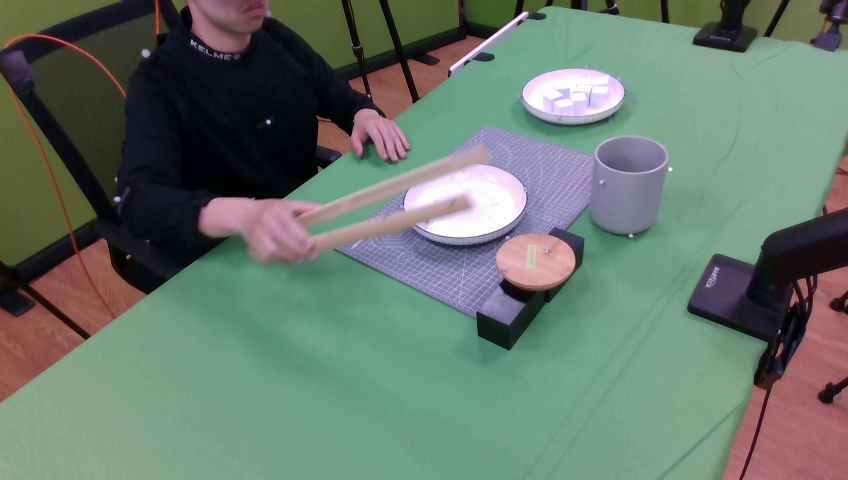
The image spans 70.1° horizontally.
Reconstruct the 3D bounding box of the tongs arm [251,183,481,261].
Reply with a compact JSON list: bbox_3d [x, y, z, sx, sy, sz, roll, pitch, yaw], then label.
[{"bbox_3d":[-0.094,-0.024,0.808,0.383,0.027,0.050,-16,37,29],"label":"tongs arm"}]

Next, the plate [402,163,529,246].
[{"bbox_3d":[0.069,-0.056,1.008,0.209,0.038,0.208,-4,40,4],"label":"plate"}]

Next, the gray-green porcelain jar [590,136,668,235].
[{"bbox_3d":[0.314,-0.080,0.937,0.106,0.127,0.105,-4,41,4],"label":"gray-green porcelain jar"}]

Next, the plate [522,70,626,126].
[{"bbox_3d":[0.308,-0.290,1.251,0.207,0.039,0.206,-4,40,4],"label":"plate"}]

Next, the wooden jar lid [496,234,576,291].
[{"bbox_3d":[0.154,0.032,0.834,0.108,0.021,0.108,-5,40,4],"label":"wooden jar lid"}]

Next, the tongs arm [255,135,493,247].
[{"bbox_3d":[-0.082,-0.063,0.852,0.386,0.028,0.028,-20,38,23],"label":"tongs arm"}]
